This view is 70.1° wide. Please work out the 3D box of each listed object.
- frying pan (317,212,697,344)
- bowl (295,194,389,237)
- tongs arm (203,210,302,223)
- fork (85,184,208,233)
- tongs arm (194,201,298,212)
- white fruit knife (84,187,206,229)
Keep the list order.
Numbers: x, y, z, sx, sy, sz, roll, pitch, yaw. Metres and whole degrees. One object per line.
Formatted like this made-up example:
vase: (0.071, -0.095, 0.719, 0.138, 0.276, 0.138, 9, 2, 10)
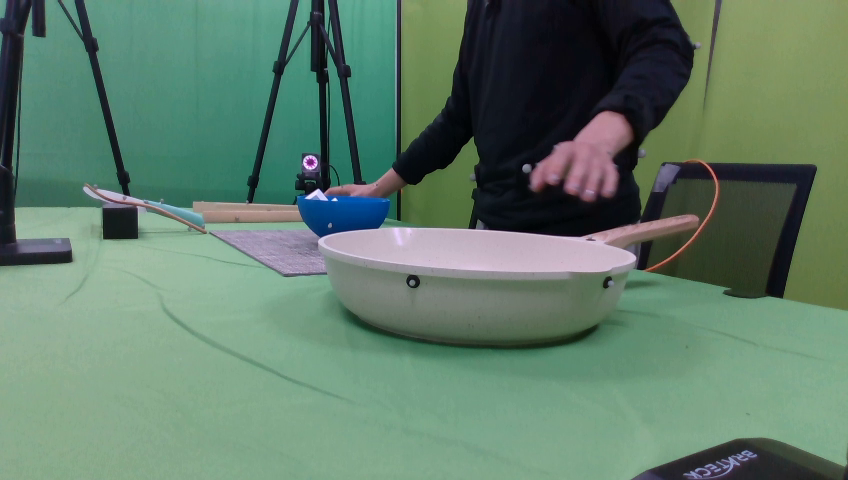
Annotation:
frying pan: (0.133, 0.013, 0.629, 0.490, 0.102, 0.305, -12, 14, -31)
bowl: (-0.132, -0.032, 0.980, 0.151, 0.077, 0.151, 2, 7, 0)
tongs arm: (-0.298, -0.057, 1.354, 0.390, 0.028, 0.028, -3, 7, -36)
fork: (-0.462, -0.051, 1.019, 0.208, 0.018, 0.028, 22, -11, -37)
tongs arm: (-0.335, -0.072, 1.424, 0.387, 0.026, 0.050, 0, 9, -24)
white fruit knife: (-0.488, -0.059, 1.071, 0.208, 0.027, 0.016, 17, 4, -33)
